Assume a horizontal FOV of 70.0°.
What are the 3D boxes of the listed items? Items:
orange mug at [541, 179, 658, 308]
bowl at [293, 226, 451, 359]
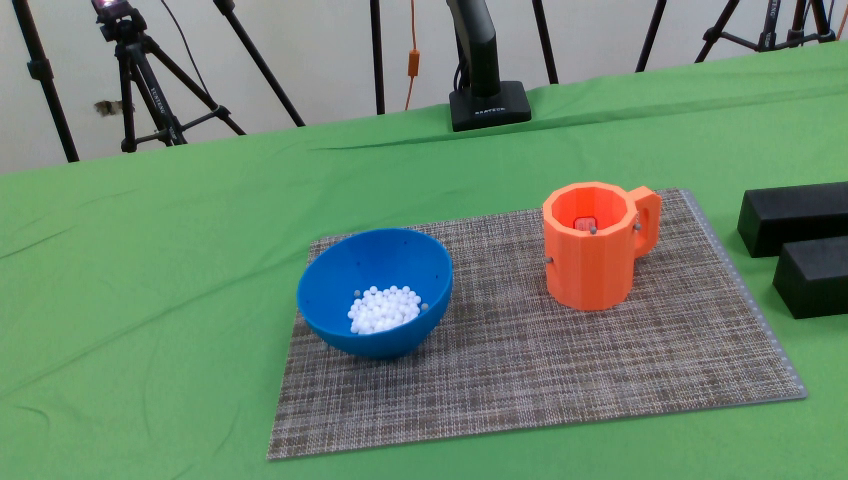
[{"bbox_3d":[0.175,-0.004,0.600,0.126,0.102,0.082,-26,41,-10],"label":"orange mug"},{"bbox_3d":[-0.043,0.062,0.593,0.151,0.077,0.150,-7,39,6],"label":"bowl"}]
